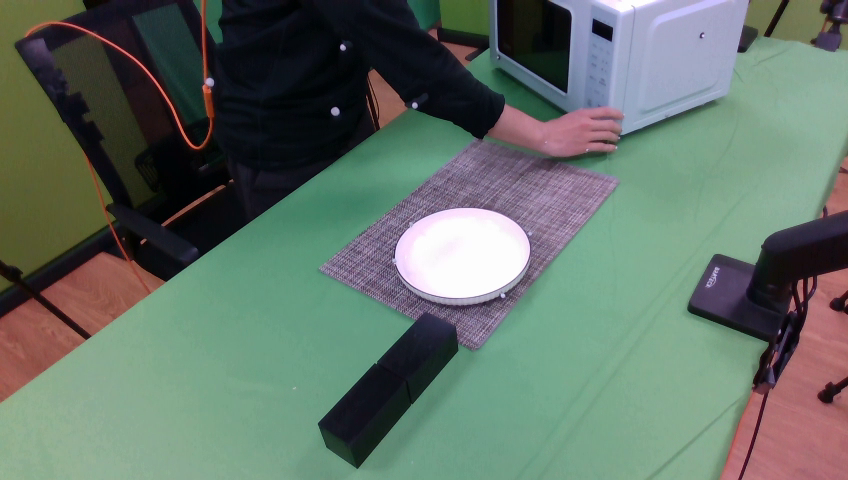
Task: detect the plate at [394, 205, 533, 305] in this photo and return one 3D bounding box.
[{"bbox_3d":[0.059,0.025,0.915,0.207,0.039,0.206,-4,41,4],"label":"plate"}]

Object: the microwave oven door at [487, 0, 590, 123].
[{"bbox_3d":[0.232,-0.420,1.231,0.039,0.245,0.352,-22,43,-16],"label":"microwave oven door"}]

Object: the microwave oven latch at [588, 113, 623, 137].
[{"bbox_3d":[0.341,-0.222,1.142,0.030,0.029,0.078,-16,41,-9],"label":"microwave oven latch"}]

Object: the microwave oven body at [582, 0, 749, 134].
[{"bbox_3d":[0.382,-0.444,1.246,0.327,0.261,0.437,-22,42,-16],"label":"microwave oven body"}]
